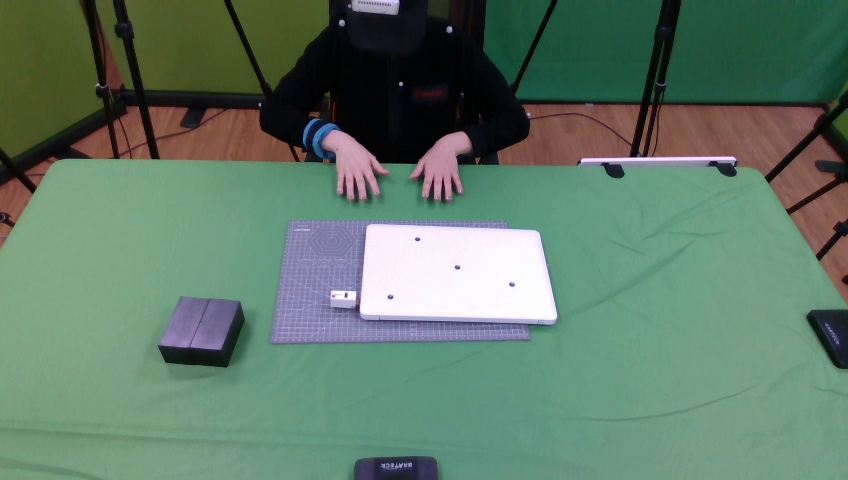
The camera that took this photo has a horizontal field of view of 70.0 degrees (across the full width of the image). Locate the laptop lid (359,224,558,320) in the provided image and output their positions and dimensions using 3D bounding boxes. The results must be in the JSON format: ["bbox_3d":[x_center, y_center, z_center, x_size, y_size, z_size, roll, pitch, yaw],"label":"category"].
[{"bbox_3d":[0.062,0.053,1.138,0.357,0.013,0.240,3,44,-2],"label":"laptop lid"}]

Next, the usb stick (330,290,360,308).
[{"bbox_3d":[-0.135,0.105,1.068,0.059,0.027,0.021,6,44,-7],"label":"usb stick"}]

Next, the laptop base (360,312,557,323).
[{"bbox_3d":[0.061,0.063,1.145,0.354,0.023,0.234,2,43,-3],"label":"laptop base"}]
